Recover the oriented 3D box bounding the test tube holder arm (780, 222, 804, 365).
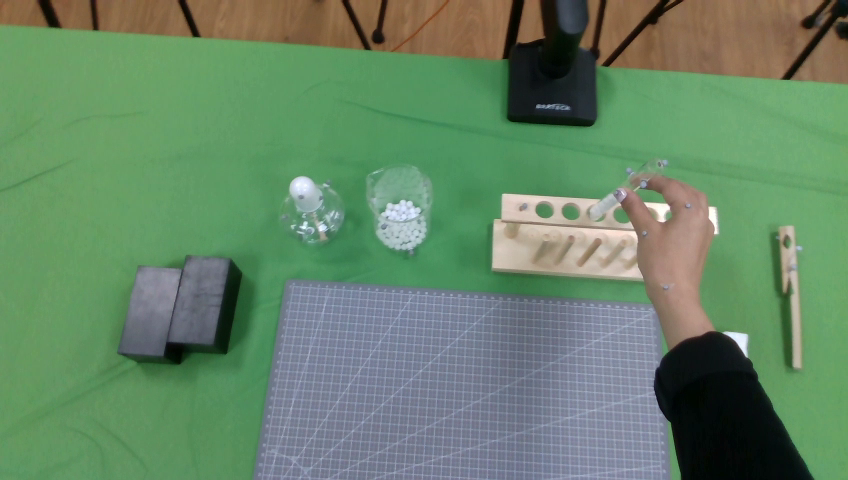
[{"bbox_3d":[0.445,0.061,0.735,0.013,0.015,0.177,-10,65,33],"label":"test tube holder arm"}]

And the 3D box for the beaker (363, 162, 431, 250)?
[{"bbox_3d":[-0.034,-0.037,0.718,0.083,0.101,0.074,30,71,11],"label":"beaker"}]

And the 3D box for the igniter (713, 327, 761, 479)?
[{"bbox_3d":[0.346,0.232,0.664,0.057,0.025,0.274,8,69,-9],"label":"igniter"}]

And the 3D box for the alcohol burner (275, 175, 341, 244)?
[{"bbox_3d":[-0.138,-0.041,0.708,0.078,0.120,0.077,0,67,-1],"label":"alcohol burner"}]

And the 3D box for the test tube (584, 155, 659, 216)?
[{"bbox_3d":[0.198,-0.052,0.623,0.017,0.150,0.017,2,75,-7],"label":"test tube"}]

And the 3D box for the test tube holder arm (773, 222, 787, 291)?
[{"bbox_3d":[0.444,0.020,0.754,0.010,0.015,0.087,-9,65,34],"label":"test tube holder arm"}]

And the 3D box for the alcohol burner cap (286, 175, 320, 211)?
[{"bbox_3d":[-0.136,-0.054,0.675,0.034,0.048,0.033,0,74,2],"label":"alcohol burner cap"}]

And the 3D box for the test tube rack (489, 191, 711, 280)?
[{"bbox_3d":[0.203,-0.003,0.719,0.242,0.086,0.066,3,68,0],"label":"test tube rack"}]
